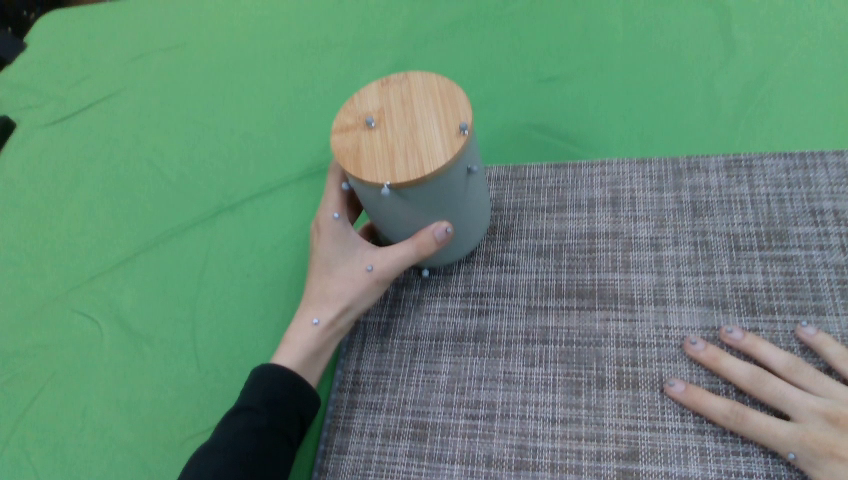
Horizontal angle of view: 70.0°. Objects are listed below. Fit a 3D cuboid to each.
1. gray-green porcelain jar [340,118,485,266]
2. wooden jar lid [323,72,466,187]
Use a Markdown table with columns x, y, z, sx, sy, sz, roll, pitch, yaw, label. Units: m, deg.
| x | y | z | sx | sy | sz | roll | pitch | yaw | label |
| --- | --- | --- | --- | --- | --- | --- | --- | --- | --- |
| -0.006 | -0.047 | 0.505 | 0.106 | 0.128 | 0.105 | -7 | 55 | 10 | gray-green porcelain jar |
| -0.021 | -0.081 | 0.454 | 0.108 | 0.021 | 0.107 | -5 | 59 | 9 | wooden jar lid |
